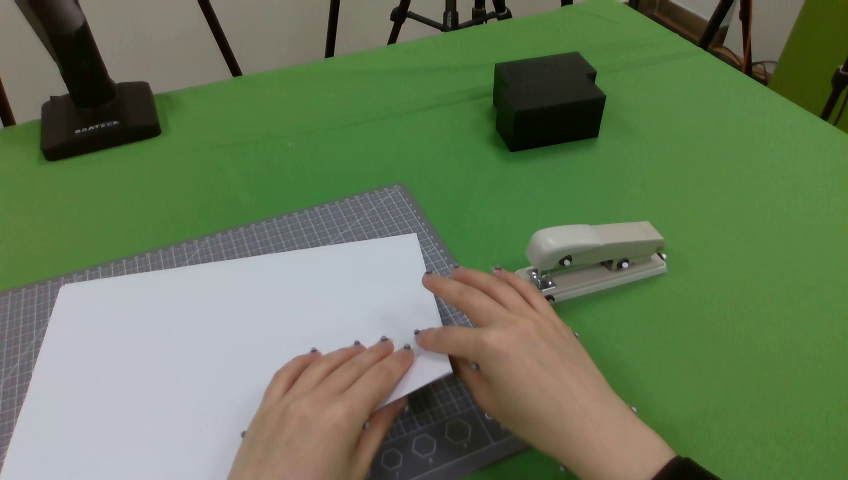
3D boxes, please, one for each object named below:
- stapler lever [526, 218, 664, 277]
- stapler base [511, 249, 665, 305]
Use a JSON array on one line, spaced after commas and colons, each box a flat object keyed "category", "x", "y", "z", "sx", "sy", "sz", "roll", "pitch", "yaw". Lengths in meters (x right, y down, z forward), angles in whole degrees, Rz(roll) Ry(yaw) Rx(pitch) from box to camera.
[{"category": "stapler lever", "x": 0.138, "y": 0.000, "z": 0.484, "sx": 0.118, "sy": 0.040, "sz": 0.026, "roll": -14, "pitch": 48, "yaw": -14}, {"category": "stapler base", "x": 0.137, "y": 0.019, "z": 0.501, "sx": 0.131, "sy": 0.024, "sz": 0.041, "roll": -14, "pitch": 48, "yaw": -15}]
